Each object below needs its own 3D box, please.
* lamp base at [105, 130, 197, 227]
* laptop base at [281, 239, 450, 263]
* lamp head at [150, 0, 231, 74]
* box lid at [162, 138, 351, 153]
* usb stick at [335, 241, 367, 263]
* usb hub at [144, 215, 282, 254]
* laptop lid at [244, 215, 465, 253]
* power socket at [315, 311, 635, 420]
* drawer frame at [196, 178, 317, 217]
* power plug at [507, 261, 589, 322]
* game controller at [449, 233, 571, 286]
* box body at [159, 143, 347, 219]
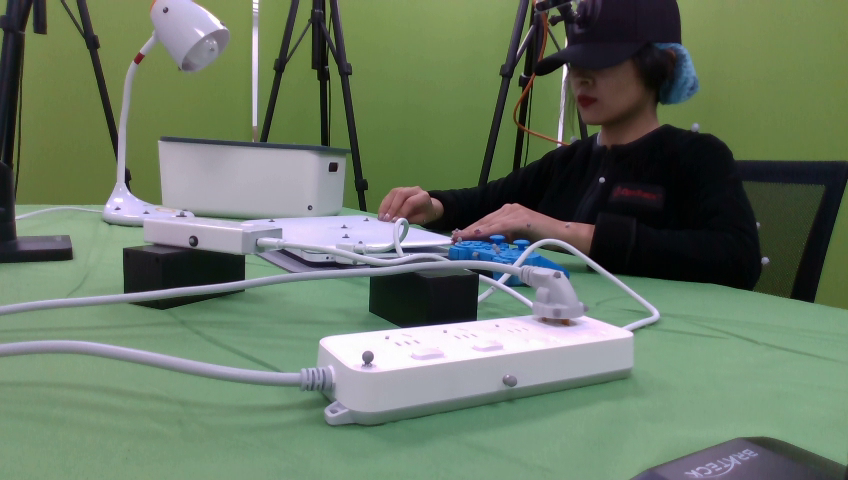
[{"bbox_3d":[-0.532,-0.120,1.153,0.179,0.180,0.161,1,7,8],"label":"lamp base"},{"bbox_3d":[-0.126,0.003,0.946,0.237,0.023,0.352,1,7,-31],"label":"laptop base"},{"bbox_3d":[-0.432,-0.374,1.086,0.123,0.112,0.112,42,8,-2],"label":"lamp head"},{"bbox_3d":[-0.371,-0.215,1.394,0.371,0.015,0.263,4,8,7],"label":"box lid"},{"bbox_3d":[-0.093,0.015,0.742,0.021,0.027,0.059,-4,0,-34],"label":"usb stick"},{"bbox_3d":[-0.200,-0.006,0.573,0.125,0.025,0.050,6,7,23],"label":"usb hub"},{"bbox_3d":[-0.124,-0.016,0.944,0.243,0.013,0.355,-3,9,-28],"label":"laptop lid"},{"bbox_3d":[0.039,0.072,0.385,0.228,0.032,0.072,-2,7,-29],"label":"power socket"},{"bbox_3d":[-0.376,-0.101,1.393,0.213,0.082,0.202,1,8,6],"label":"drawer frame"},{"bbox_3d":[0.091,0.043,0.444,0.035,0.052,0.072,-1,5,-18],"label":"power plug"},{"bbox_3d":[0.101,0.021,0.760,0.097,0.051,0.154,-7,10,-30],"label":"game controller"},{"bbox_3d":[-0.384,-0.137,1.406,0.364,0.160,0.254,3,8,7],"label":"box body"}]
